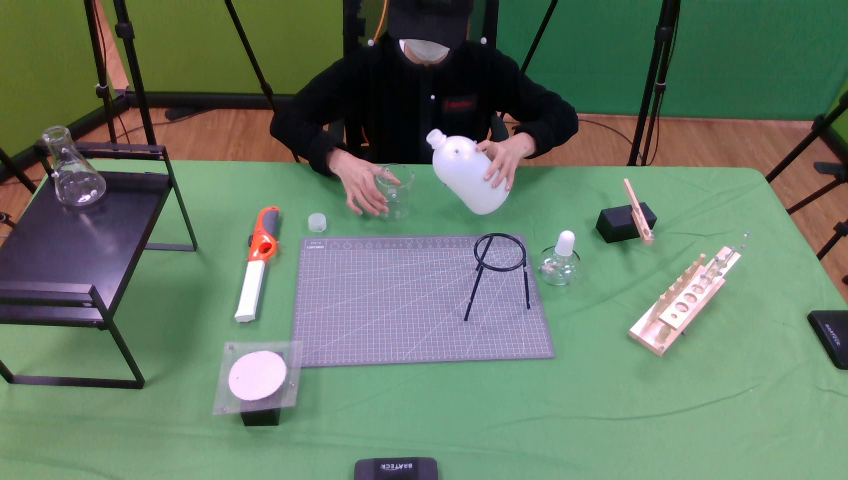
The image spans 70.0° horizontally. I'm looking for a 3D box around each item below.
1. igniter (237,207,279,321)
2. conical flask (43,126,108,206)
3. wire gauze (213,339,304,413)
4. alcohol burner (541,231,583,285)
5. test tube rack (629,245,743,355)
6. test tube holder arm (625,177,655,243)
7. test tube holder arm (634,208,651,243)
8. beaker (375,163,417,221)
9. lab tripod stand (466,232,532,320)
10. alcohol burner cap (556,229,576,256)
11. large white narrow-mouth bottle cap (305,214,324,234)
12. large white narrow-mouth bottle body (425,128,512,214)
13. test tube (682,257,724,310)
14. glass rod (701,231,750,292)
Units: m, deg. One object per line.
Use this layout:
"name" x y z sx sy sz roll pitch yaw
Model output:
"igniter" -0.309 0.036 1.136 0.057 0.025 0.274 -7 45 4
"conical flask" -0.555 -0.119 0.953 0.075 0.122 0.075 2 46 -2
"wire gauze" -0.250 0.203 0.924 0.121 0.011 0.124 -1 46 -3
"alcohol burner" 0.258 0.028 1.123 0.078 0.120 0.077 1 48 -1
"test tube rack" 0.474 0.095 1.091 0.242 0.085 0.066 -34 56 -31
"test tube holder arm" 0.433 -0.063 1.220 0.013 0.015 0.177 1 47 -3
"test tube holder arm" 0.428 -0.030 1.189 0.010 0.015 0.087 2 47 -2
"beaker" -0.058 -0.096 1.230 0.084 0.101 0.073 -11 49 -16
"lab tripod stand" 0.125 0.059 1.065 0.148 0.132 0.147 1 45 0
"alcohol burner cap" 0.260 0.002 1.098 0.034 0.048 0.033 3 40 -2
"large white narrow-mouth bottle cap" -0.219 -0.033 1.214 0.038 0.024 0.037 2 46 -2
"large white narrow-mouth bottle body" 0.078 -0.144 1.184 0.195 0.102 0.101 41 41 -25
"test tube" 0.475 0.080 1.037 0.017 0.151 0.017 2 51 -2
"glass rod" 0.519 0.045 1.050 0.008 0.201 0.008 0 55 0
